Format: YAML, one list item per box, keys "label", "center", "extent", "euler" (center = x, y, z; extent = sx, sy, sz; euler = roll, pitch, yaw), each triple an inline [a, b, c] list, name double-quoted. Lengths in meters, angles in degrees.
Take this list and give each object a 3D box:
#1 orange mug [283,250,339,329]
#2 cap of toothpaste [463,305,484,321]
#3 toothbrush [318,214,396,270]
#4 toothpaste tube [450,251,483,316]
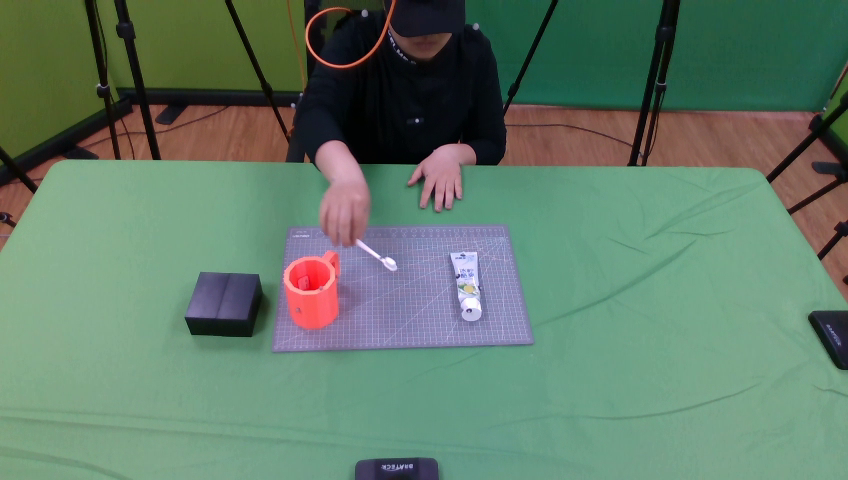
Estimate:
- label: "orange mug"
  center: [-0.186, 0.078, 1.052]
  extent: [0.083, 0.101, 0.126]
  euler: [20, 52, 14]
- label: "cap of toothpaste"
  center: [0.087, 0.127, 1.064]
  extent: [0.037, 0.037, 0.011]
  euler: [2, 40, -2]
- label: "toothbrush"
  center: [-0.116, 0.000, 1.022]
  extent: [0.181, 0.017, 0.014]
  euler: [32, 63, 27]
- label: "toothpaste tube"
  center: [0.084, 0.077, 1.122]
  extent: [0.055, 0.035, 0.164]
  euler: [2, 41, -8]
